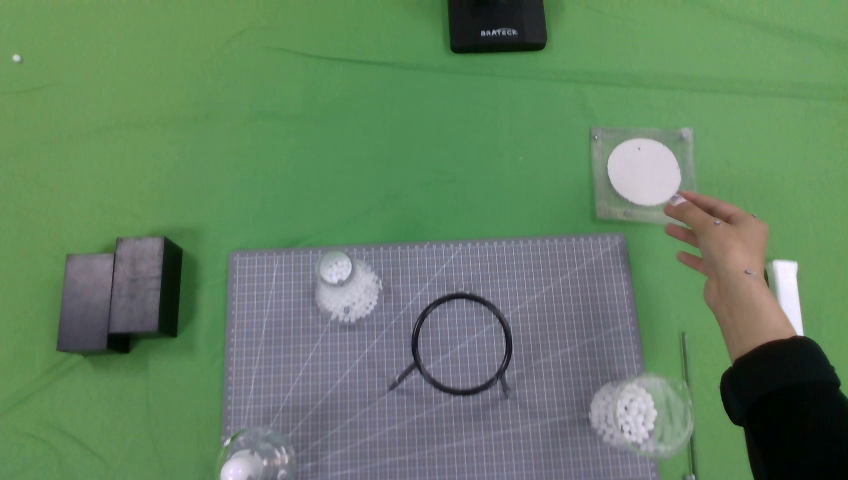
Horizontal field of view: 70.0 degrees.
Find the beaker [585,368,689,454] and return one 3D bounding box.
[{"bbox_3d":[0.208,0.166,0.599,0.084,0.101,0.073,-39,79,-11],"label":"beaker"}]

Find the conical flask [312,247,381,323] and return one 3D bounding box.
[{"bbox_3d":[-0.085,0.040,0.615,0.075,0.122,0.075,0,74,0],"label":"conical flask"}]

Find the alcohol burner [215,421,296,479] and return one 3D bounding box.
[{"bbox_3d":[-0.164,0.211,0.571,0.078,0.120,0.077,0,74,1],"label":"alcohol burner"}]

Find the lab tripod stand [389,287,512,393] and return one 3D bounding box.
[{"bbox_3d":[0.029,0.108,0.593,0.148,0.132,0.147,0,77,-1],"label":"lab tripod stand"}]

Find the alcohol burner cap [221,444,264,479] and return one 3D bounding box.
[{"bbox_3d":[-0.163,0.200,0.537,0.034,0.048,0.033,1,78,-5],"label":"alcohol burner cap"}]

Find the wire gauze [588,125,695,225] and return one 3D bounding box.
[{"bbox_3d":[0.258,-0.080,0.717,0.125,0.011,0.121,3,75,-2],"label":"wire gauze"}]

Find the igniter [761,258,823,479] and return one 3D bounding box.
[{"bbox_3d":[0.391,0.154,0.646,0.057,0.025,0.275,6,75,-11],"label":"igniter"}]

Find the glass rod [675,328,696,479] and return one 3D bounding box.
[{"bbox_3d":[0.280,0.193,0.644,0.008,0.008,0.198,1,74,-1],"label":"glass rod"}]
